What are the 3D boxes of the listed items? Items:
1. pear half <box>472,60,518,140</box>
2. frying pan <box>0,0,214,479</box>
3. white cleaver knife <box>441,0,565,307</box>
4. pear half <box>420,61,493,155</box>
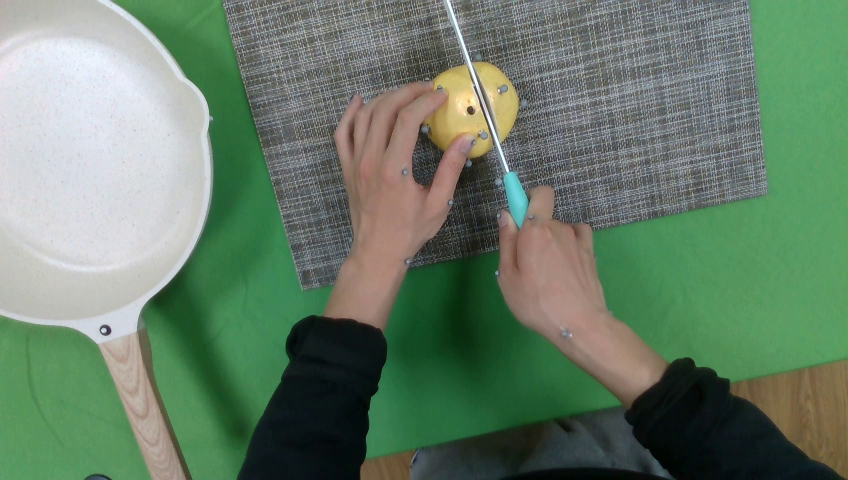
[{"bbox_3d":[0.061,-0.121,0.507,0.031,0.088,0.070,-27,96,0],"label":"pear half"},{"bbox_3d":[-0.292,0.026,0.542,0.307,0.102,0.488,-16,94,5],"label":"frying pan"},{"bbox_3d":[0.067,-0.073,0.513,0.021,0.065,0.287,-19,103,8],"label":"white cleaver knife"},{"bbox_3d":[0.025,-0.104,0.500,0.056,0.109,0.076,-25,97,8],"label":"pear half"}]
